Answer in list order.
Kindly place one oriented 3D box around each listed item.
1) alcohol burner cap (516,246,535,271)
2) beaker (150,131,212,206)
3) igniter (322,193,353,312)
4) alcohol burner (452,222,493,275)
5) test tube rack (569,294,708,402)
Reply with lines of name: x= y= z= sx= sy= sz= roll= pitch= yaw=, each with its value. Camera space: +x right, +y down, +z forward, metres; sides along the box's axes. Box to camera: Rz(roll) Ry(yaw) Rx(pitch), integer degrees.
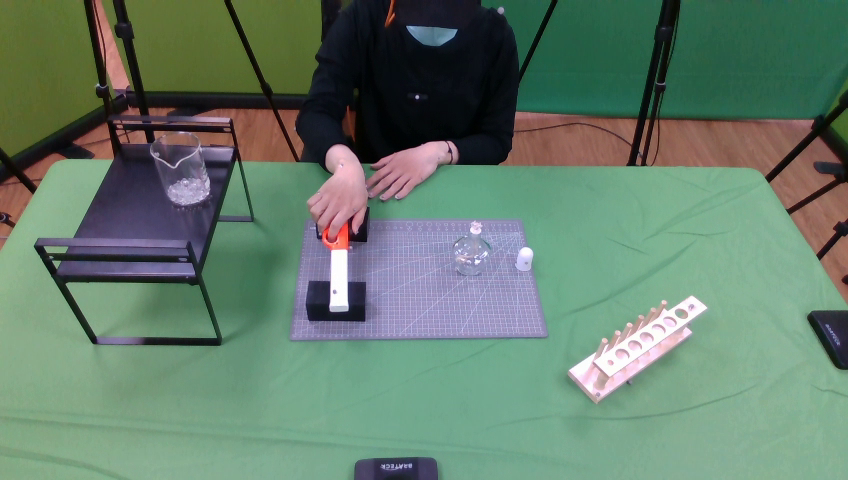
alcohol burner cap: x=0.195 y=0.032 z=1.158 sx=0.034 sy=0.048 sz=0.033 roll=2 pitch=45 yaw=-2
beaker: x=-0.385 y=-0.110 z=0.969 sx=0.074 sy=0.101 sz=0.083 roll=-6 pitch=48 yaw=-9
igniter: x=-0.156 y=0.012 z=1.097 sx=0.057 sy=0.025 sz=0.274 roll=-2 pitch=49 yaw=-8
alcohol burner: x=0.091 y=0.009 z=1.124 sx=0.078 sy=0.119 sz=0.077 roll=2 pitch=48 yaw=-2
test tube rack: x=0.360 y=0.167 z=1.015 sx=0.242 sy=0.085 sz=0.066 roll=-25 pitch=52 yaw=-25
